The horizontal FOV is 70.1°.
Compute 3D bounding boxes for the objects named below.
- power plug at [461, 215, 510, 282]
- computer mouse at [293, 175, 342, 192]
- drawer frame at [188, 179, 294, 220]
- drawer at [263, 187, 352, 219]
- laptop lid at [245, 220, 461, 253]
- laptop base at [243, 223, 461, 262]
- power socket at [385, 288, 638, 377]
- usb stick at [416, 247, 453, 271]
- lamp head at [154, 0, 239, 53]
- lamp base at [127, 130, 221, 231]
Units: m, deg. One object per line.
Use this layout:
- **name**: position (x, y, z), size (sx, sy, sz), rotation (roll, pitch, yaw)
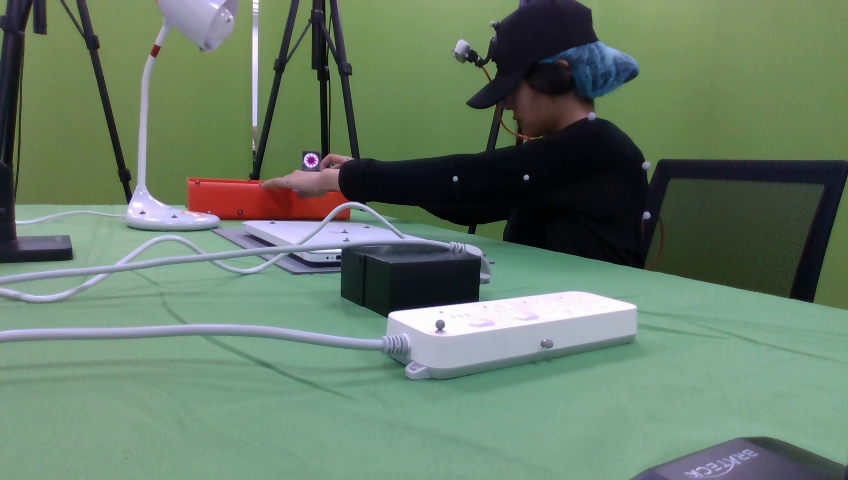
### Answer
- **power plug**: position (0.064, 0.011, 0.624), size (0.053, 0.072, 0.035), rotation (-3, 39, -3)
- **computer mouse**: position (-0.249, -0.125, 1.403), size (0.117, 0.041, 0.062), rotation (-18, 16, -22)
- **drawer frame**: position (-0.416, -0.094, 1.368), size (0.214, 0.082, 0.201), rotation (-2, 9, -23)
- **drawer**: position (-0.297, -0.093, 1.422), size (0.213, 0.073, 0.193), rotation (-2, 10, -25)
- **laptop lid**: position (-0.124, -0.009, 0.945), size (0.243, 0.013, 0.355), rotation (1, 7, -29)
- **laptop base**: position (-0.126, 0.003, 0.945), size (0.237, 0.023, 0.352), rotation (2, 6, -31)
- **power socket**: position (0.074, 0.064, 0.462), size (0.228, 0.032, 0.072), rotation (-3, 8, -34)
- **usb stick**: position (0.009, 0.024, 0.755), size (0.027, 0.021, 0.059), rotation (37, -17, -17)
- **lamp head**: position (-0.406, -0.402, 1.059), size (0.123, 0.112, 0.112), rotation (25, 5, -6)
- **lamp base**: position (-0.469, -0.112, 1.108), size (0.179, 0.180, 0.160), rotation (0, 7, 3)
